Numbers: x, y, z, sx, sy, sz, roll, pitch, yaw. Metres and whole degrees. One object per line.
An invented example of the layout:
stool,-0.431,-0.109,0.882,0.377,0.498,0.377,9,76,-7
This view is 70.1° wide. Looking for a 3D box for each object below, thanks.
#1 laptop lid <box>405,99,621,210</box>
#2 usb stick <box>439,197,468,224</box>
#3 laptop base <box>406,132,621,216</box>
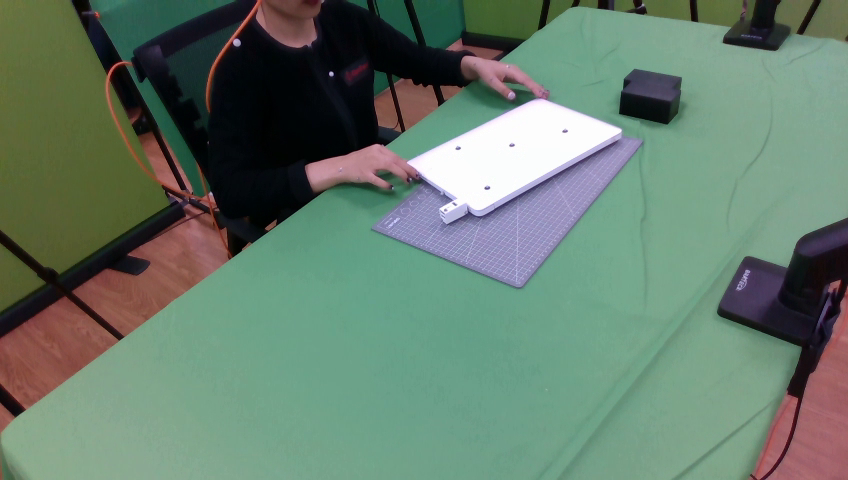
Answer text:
laptop lid,0.166,-0.177,1.146,0.358,0.013,0.239,-28,40,-21
usb stick,0.056,-0.053,1.017,0.059,0.027,0.021,-26,40,-22
laptop base,0.169,-0.167,1.151,0.356,0.023,0.233,-29,39,-22
